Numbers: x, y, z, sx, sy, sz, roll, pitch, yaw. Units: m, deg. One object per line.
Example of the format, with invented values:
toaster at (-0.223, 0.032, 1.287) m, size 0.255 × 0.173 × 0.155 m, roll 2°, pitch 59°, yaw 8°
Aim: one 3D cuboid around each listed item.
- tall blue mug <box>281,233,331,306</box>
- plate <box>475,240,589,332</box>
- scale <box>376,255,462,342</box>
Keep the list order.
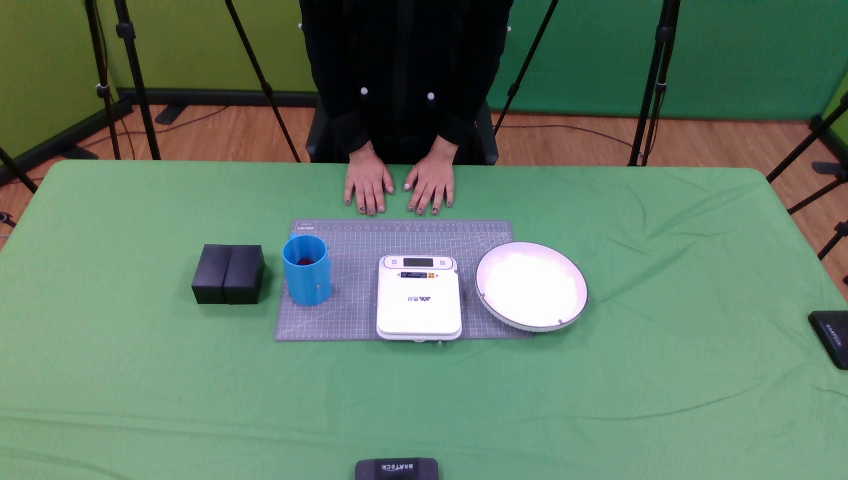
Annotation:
tall blue mug at (-0.219, 0.046, 1.073) m, size 0.107 × 0.108 × 0.077 m, roll 28°, pitch 52°, yaw 21°
plate at (0.195, 0.087, 1.112) m, size 0.209 × 0.038 × 0.208 m, roll 3°, pitch 46°, yaw -3°
scale at (-0.010, 0.096, 1.094) m, size 0.149 × 0.032 × 0.199 m, roll 2°, pitch 46°, yaw -3°
